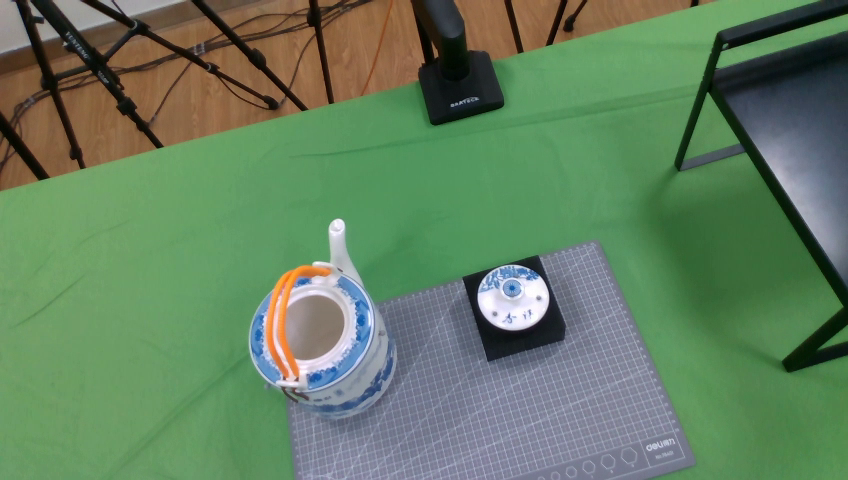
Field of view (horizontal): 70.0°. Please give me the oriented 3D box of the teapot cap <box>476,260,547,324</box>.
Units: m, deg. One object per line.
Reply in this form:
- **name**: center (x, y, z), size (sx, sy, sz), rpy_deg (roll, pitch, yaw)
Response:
- **teapot cap**: center (0.103, 0.059, 0.718), size (0.085, 0.044, 0.084), rpy_deg (-5, 59, 8)

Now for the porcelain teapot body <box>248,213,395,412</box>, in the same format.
- **porcelain teapot body**: center (-0.117, 0.076, 0.700), size (0.145, 0.227, 0.204), rpy_deg (4, 63, 12)
